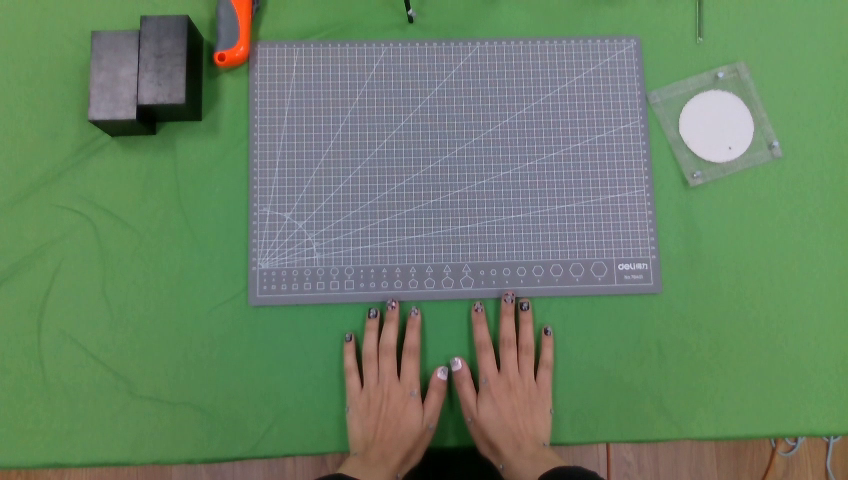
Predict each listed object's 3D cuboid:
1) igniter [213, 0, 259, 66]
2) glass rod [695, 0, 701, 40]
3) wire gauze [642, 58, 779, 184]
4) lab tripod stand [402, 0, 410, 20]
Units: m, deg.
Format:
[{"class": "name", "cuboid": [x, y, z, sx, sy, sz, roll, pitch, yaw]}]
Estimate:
[{"class": "igniter", "cuboid": [-0.217, -0.330, 0.695, 0.057, 0.025, 0.275, 1, 82, -17]}, {"class": "glass rod", "cuboid": [0.328, -0.333, 0.724, 0.008, 0.008, 0.199, 4, 82, -2]}, {"class": "wire gauze", "cuboid": [0.331, -0.137, 0.697, 0.125, 0.011, 0.121, -19, 83, -2]}, {"class": "lab tripod stand", "cuboid": [-0.058, -0.327, 0.647, 0.148, 0.132, 0.148, 0, 80, -1]}]
